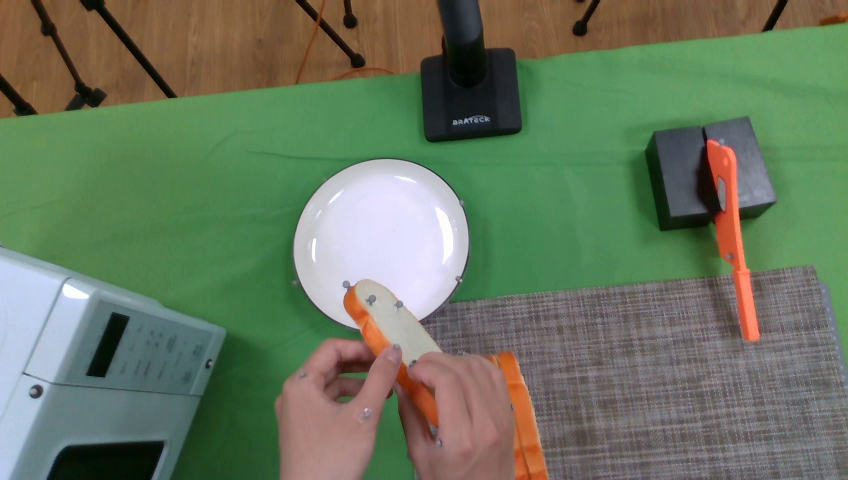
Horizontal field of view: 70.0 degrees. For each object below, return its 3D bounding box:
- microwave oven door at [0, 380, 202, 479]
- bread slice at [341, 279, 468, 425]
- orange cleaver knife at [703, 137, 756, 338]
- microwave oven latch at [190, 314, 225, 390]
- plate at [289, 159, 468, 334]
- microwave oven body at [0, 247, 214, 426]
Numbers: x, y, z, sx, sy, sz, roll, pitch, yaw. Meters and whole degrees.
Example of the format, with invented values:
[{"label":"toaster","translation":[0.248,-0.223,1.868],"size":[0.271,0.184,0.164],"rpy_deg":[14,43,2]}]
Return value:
[{"label":"microwave oven door","translation":[-0.333,0.301,0.535],"size":[0.039,0.245,0.354],"rpy_deg":[15,77,12]},{"label":"bread slice","translation":[-0.016,0.088,0.507],"size":[0.018,0.107,0.134],"rpy_deg":[-42,87,8]},{"label":"orange cleaver knife","translation":[0.317,-0.005,0.634],"size":[0.012,0.077,0.211],"rpy_deg":[-10,94,7]},{"label":"microwave oven latch","translation":[-0.251,0.126,0.679],"size":[0.030,0.030,0.079],"rpy_deg":[17,78,12]},{"label":"plate","translation":[-0.051,0.008,0.704],"size":[0.207,0.039,0.206],"rpy_deg":[-2,74,7]},{"label":"microwave oven body","translation":[-0.458,0.226,0.578],"size":[0.325,0.262,0.440],"rpy_deg":[15,78,11]}]
